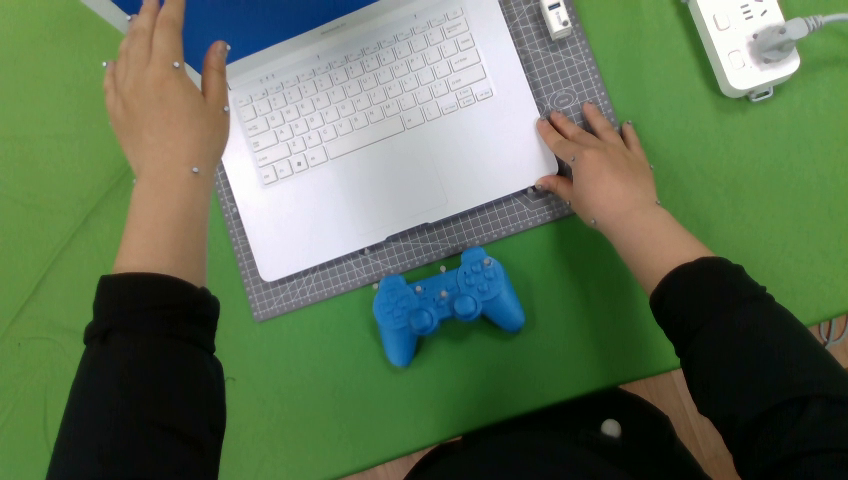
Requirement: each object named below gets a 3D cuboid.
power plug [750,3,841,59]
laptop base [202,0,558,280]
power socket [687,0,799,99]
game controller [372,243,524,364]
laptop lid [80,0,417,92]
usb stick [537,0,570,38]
[{"bbox_3d":[0.353,-0.195,0.581,0.072,0.053,0.035,-7,84,5],"label":"power plug"},{"bbox_3d":[-0.057,-0.121,0.674,0.354,0.023,0.235,-20,87,8],"label":"laptop base"},{"bbox_3d":[0.306,-0.254,0.613,0.072,0.033,0.226,-18,84,9],"label":"power socket"},{"bbox_3d":[0.020,0.065,0.637,0.155,0.052,0.096,-19,79,8],"label":"game controller"},{"bbox_3d":[-0.122,-0.256,0.573,0.356,0.243,0.013,-21,74,9],"label":"laptop lid"},{"bbox_3d":[0.135,-0.248,0.642,0.021,0.027,0.059,-19,81,9],"label":"usb stick"}]
